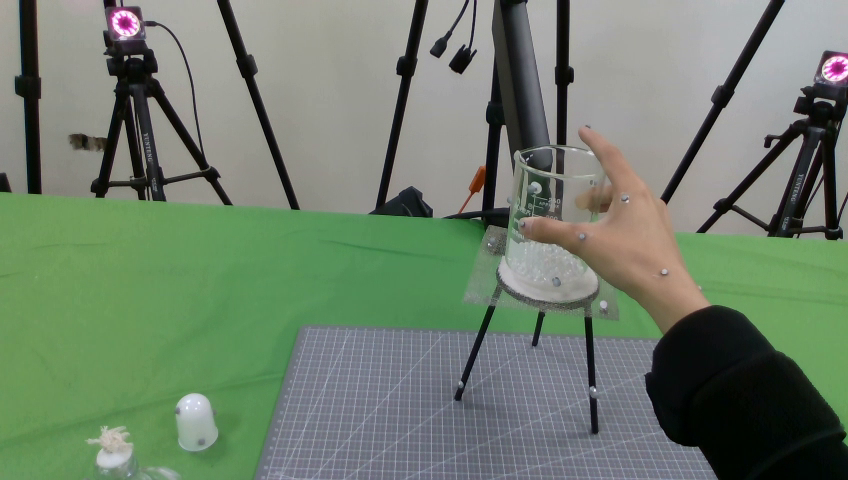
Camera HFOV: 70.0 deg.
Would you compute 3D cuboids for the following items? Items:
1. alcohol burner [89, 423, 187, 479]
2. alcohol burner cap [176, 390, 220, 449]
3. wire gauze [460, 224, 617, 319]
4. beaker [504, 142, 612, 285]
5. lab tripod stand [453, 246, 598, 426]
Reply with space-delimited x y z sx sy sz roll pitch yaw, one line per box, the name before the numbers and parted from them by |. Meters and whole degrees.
alcohol burner | -0.196 0.168 0.398 0.078 0.120 0.077 1 30 0
alcohol burner cap | -0.191 0.148 0.508 0.034 0.048 0.033 2 30 -1
wire gauze | 0.102 0.026 0.520 0.121 0.011 0.124 11 30 10
beaker | 0.103 -0.022 0.495 0.074 0.101 0.083 -21 36 -37
lab tripod stand | 0.105 0.085 0.553 0.148 0.132 0.147 5 30 -2
